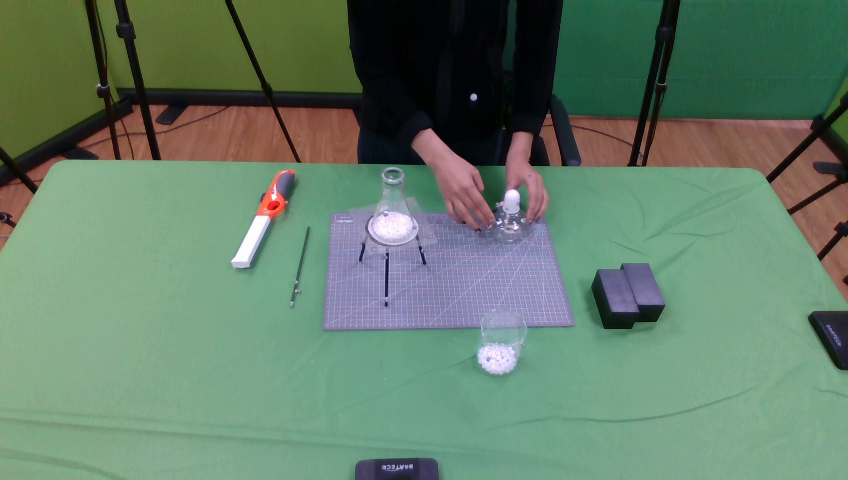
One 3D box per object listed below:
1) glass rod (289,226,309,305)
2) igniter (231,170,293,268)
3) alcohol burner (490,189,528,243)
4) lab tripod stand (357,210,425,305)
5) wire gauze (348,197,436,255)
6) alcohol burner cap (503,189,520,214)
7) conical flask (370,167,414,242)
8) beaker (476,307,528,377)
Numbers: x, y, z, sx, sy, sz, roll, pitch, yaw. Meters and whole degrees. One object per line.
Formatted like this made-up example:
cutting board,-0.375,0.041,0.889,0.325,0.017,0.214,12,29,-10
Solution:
glass rod,-0.235,0.043,1.149,0.008,0.008,0.198,3,46,-1
igniter,-0.321,-0.051,1.220,0.057,0.025,0.275,1,45,11
alcohol burner,0.169,-0.052,1.196,0.078,0.120,0.077,1,45,-1
lab tripod stand,-0.060,0.020,1.094,0.148,0.132,0.147,3,44,-2
wire gauze,-0.056,-0.025,1.046,0.125,0.011,0.120,-13,46,-15
alcohol burner cap,0.170,-0.076,1.169,0.034,0.048,0.033,-1,49,2
conical flask,-0.053,-0.062,1.000,0.075,0.122,0.075,2,44,-2
beaker,0.122,0.171,0.991,0.084,0.101,0.073,-34,56,-31
